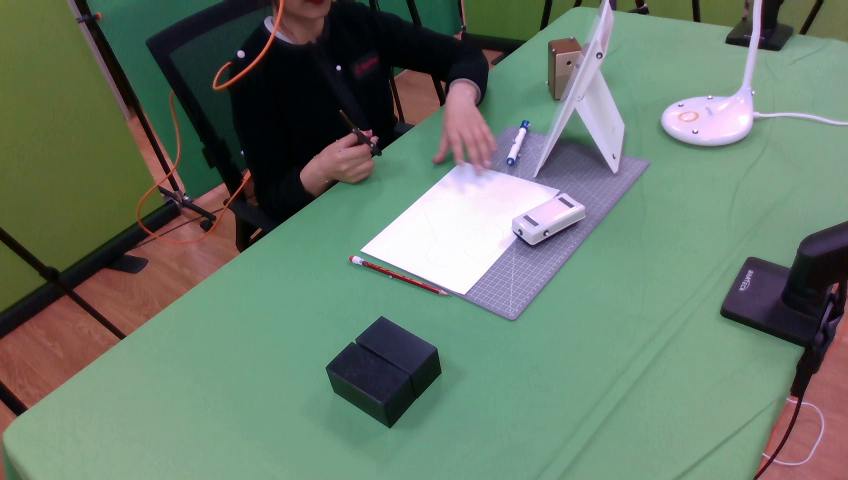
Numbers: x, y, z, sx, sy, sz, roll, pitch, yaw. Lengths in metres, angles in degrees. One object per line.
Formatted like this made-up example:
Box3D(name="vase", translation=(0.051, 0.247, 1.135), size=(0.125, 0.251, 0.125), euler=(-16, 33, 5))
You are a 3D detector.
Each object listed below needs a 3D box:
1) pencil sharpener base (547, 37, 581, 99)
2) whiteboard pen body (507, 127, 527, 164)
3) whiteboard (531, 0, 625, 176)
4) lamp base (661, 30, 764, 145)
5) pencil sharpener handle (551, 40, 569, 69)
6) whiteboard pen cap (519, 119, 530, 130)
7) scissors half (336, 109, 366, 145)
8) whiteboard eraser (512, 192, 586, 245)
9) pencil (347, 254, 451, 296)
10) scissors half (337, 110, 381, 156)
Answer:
Box3D(name="pencil sharpener base", translation=(0.299, -0.368, 1.290), size=(0.061, 0.107, 0.076), euler=(-8, 40, 2))
Box3D(name="whiteboard pen body", translation=(0.181, -0.189, 1.162), size=(0.017, 0.017, 0.140), euler=(8, 42, 19))
Box3D(name="whiteboard", translation=(0.320, -0.258, 1.050), size=(0.144, 0.306, 0.217), euler=(22, 45, 5))
Box3D(name="lamp base", translation=(0.535, -0.287, 1.096), size=(0.179, 0.181, 0.159), euler=(-10, 40, -4))
Box3D(name="pencil sharpener handle", translation=(0.291, -0.409, 1.321), size=(0.036, 0.068, 0.030), euler=(2, 40, -6))
Box3D(name="whiteboard pen cap", translation=(0.199, -0.226, 1.204), size=(0.018, 0.018, 0.033), euler=(7, 41, 18))
Box3D(name="scissors half", translation=(-0.128, -0.203, 1.082), size=(0.040, 0.176, 0.013), euler=(41, 91, 11))
Box3D(name="whiteboard eraser", translation=(0.199, -0.032, 0.962), size=(0.113, 0.042, 0.055), euler=(-27, 43, -20))
Box3D(name="pencil", translation=(-0.042, 0.055, 0.935), size=(0.192, 0.012, 0.012), euler=(19, 48, 27))
Box3D(name="scissors half", translation=(-0.115, -0.190, 1.076), size=(0.013, 0.176, 0.039), euler=(-44, 64, 3))
